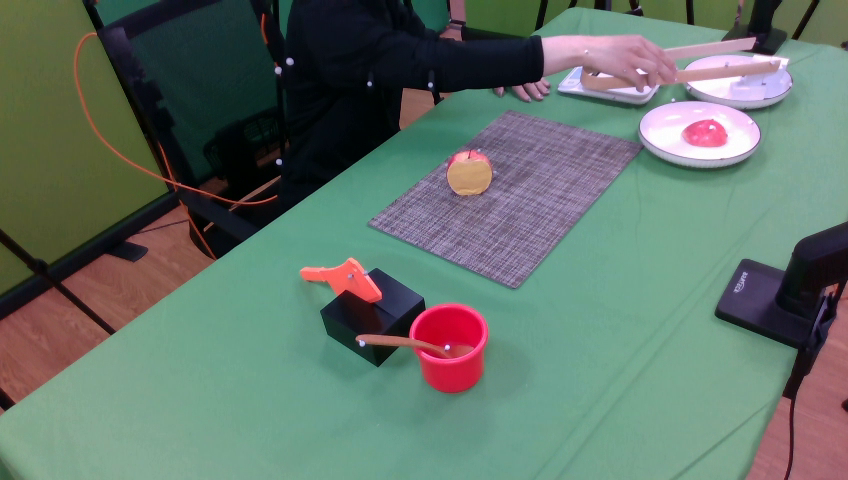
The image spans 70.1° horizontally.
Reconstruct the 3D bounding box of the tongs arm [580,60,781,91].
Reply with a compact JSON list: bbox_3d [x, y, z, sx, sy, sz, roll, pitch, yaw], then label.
[{"bbox_3d":[0.482,-0.314,1.130,0.386,0.026,0.050,-9,47,-9],"label":"tongs arm"}]

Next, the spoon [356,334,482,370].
[{"bbox_3d":[-0.001,0.130,0.731,0.195,0.021,0.041,22,28,-39],"label":"spoon"}]

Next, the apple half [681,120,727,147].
[{"bbox_3d":[0.518,-0.203,1.115,0.081,0.033,0.081,-1,40,1],"label":"apple half"}]

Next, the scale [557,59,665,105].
[{"bbox_3d":[0.407,-0.348,1.314,0.199,0.032,0.149,19,47,28],"label":"scale"}]

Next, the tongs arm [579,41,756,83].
[{"bbox_3d":[0.471,-0.347,1.164,0.389,0.028,0.028,-12,51,-12],"label":"tongs arm"}]

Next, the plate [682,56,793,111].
[{"bbox_3d":[0.636,-0.317,1.239,0.207,0.039,0.206,-4,40,4],"label":"plate"}]

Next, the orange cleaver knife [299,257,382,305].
[{"bbox_3d":[-0.124,0.062,0.872,0.012,0.077,0.210,-38,17,-30],"label":"orange cleaver knife"}]

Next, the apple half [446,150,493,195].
[{"bbox_3d":[0.080,-0.123,1.065,0.081,0.075,0.053,-7,37,7],"label":"apple half"}]

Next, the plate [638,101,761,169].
[{"bbox_3d":[0.500,-0.189,1.111,0.209,0.038,0.208,-4,41,4],"label":"plate"}]
